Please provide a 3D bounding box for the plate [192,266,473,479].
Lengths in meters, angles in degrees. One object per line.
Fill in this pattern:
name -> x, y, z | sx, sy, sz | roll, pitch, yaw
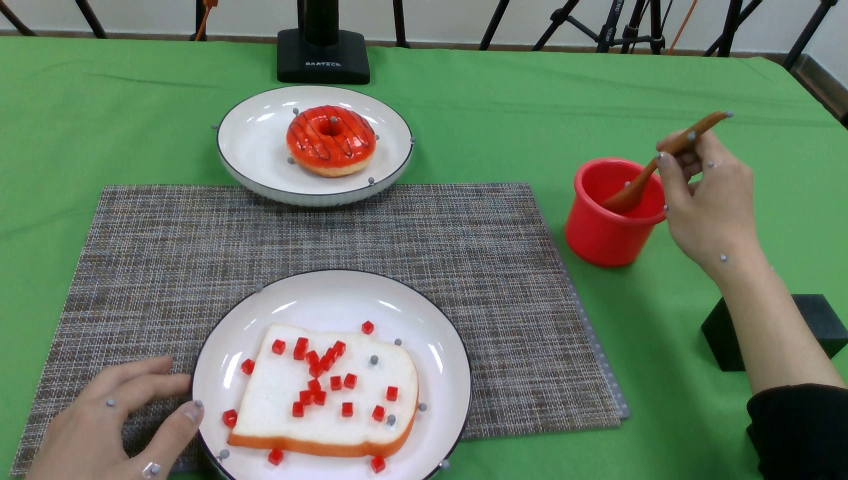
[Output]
plate -> -0.067, 0.108, 0.468 | 0.209, 0.038, 0.207 | 5, 46, -4

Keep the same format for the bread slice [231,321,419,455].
bread slice -> -0.069, 0.112, 0.467 | 0.131, 0.019, 0.104 | 7, 46, -1

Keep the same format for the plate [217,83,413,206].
plate -> -0.117, -0.103, 0.666 | 0.208, 0.039, 0.205 | 5, 44, -5

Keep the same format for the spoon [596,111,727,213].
spoon -> 0.214, -0.067, 0.563 | 0.042, 0.194, 0.021 | 3, 65, -10

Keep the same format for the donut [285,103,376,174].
donut -> -0.101, -0.110, 0.660 | 0.099, 0.048, 0.098 | 6, 46, -6
